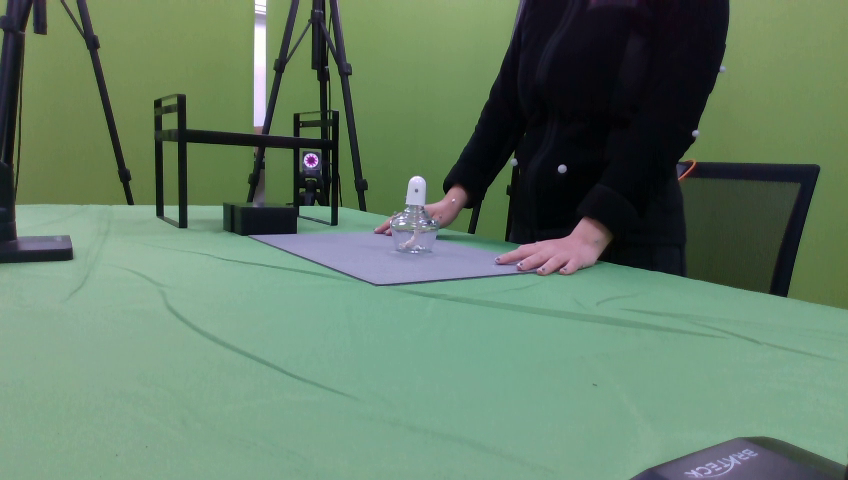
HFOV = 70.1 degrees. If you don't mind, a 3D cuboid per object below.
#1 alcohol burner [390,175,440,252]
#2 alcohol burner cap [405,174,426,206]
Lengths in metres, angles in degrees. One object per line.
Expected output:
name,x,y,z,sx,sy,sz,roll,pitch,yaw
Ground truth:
alcohol burner,-0.013,-0.041,0.930,0.078,0.119,0.078,4,8,0
alcohol burner cap,-0.012,-0.077,0.925,0.034,0.048,0.034,4,2,0
